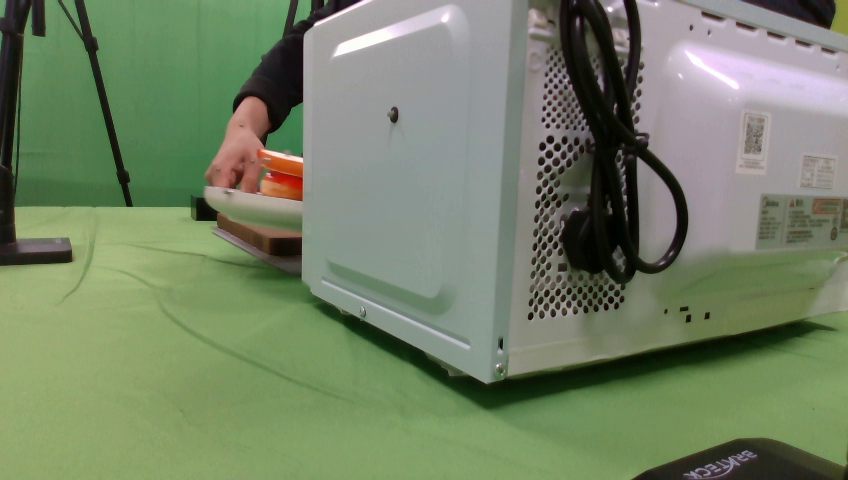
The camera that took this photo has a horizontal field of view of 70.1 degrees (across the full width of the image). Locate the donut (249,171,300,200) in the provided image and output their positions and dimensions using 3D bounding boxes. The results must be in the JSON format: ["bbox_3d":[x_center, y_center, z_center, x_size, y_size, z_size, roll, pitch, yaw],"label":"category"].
[{"bbox_3d":[-0.164,-0.061,0.741,0.099,0.048,0.099,2,1,0],"label":"donut"}]

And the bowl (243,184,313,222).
[{"bbox_3d":[-0.322,-0.081,1.333,0.151,0.077,0.151,3,7,0],"label":"bowl"}]

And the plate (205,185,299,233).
[{"bbox_3d":[-0.155,-0.032,0.728,0.208,0.039,0.207,8,3,0],"label":"plate"}]

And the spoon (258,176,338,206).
[{"bbox_3d":[-0.279,-0.112,1.356,0.194,0.021,0.041,-27,19,-27],"label":"spoon"}]

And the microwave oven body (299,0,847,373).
[{"bbox_3d":[0.151,-0.055,0.543,0.444,0.260,0.324,-2,7,-33],"label":"microwave oven body"}]

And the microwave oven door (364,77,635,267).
[{"bbox_3d":[0.092,-0.098,0.823,0.355,0.243,0.039,4,7,15],"label":"microwave oven door"}]

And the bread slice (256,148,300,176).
[{"bbox_3d":[-0.144,-0.090,0.725,0.107,0.018,0.134,8,10,-20],"label":"bread slice"}]

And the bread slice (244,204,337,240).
[{"bbox_3d":[-0.156,-0.021,0.726,0.105,0.019,0.131,15,-8,-21],"label":"bread slice"}]

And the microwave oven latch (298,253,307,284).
[{"bbox_3d":[-0.082,0.027,0.585,0.079,0.029,0.030,-2,8,-36],"label":"microwave oven latch"}]
